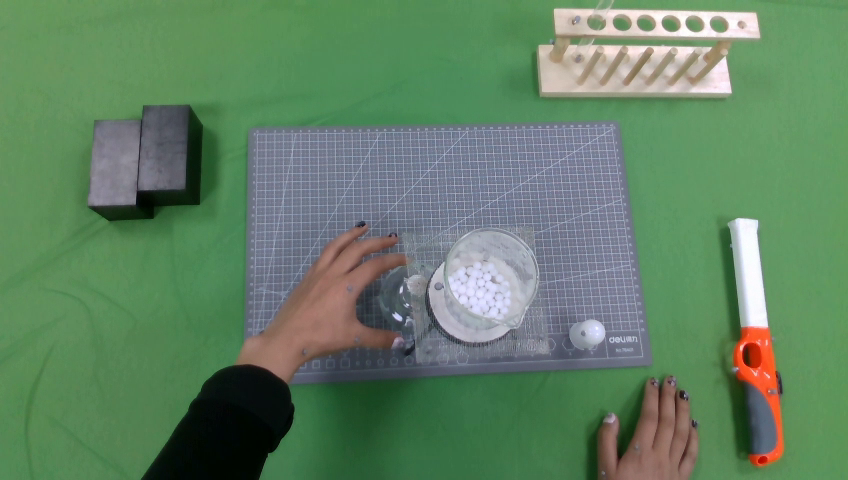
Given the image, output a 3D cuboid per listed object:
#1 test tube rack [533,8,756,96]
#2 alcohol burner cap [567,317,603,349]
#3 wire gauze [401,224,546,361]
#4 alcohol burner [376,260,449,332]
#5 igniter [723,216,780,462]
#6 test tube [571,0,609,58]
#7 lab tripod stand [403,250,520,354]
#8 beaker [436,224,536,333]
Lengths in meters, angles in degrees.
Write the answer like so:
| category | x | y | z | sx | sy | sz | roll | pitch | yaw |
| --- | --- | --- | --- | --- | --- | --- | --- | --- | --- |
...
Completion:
| category | x | y | z | sx | sy | sz | roll | pitch | yaw |
| --- | --- | --- | --- | --- | --- | --- | --- | --- | --- |
| test tube rack | 0.263 | -0.225 | 0.735 | 0.243 | 0.085 | 0.066 | -1 | 75 | -4 |
| alcohol burner cap | 0.179 | 0.101 | 0.665 | 0.034 | 0.048 | 0.033 | 1 | 74 | -2 |
| wire gauze | 0.044 | 0.046 | 0.555 | 0.125 | 0.011 | 0.120 | -4 | 74 | -2 |
| alcohol burner | -0.011 | 0.054 | 0.627 | 0.078 | 0.119 | 0.077 | 1 | 73 | -4 |
| igniter | 0.370 | 0.107 | 0.688 | 0.057 | 0.025 | 0.275 | 5 | 75 | -13 |
| test tube | 0.194 | -0.256 | 0.687 | 0.017 | 0.151 | 0.017 | 1 | 71 | -3 |
| lab tripod stand | 0.038 | 0.065 | 0.617 | 0.148 | 0.132 | 0.147 | 1 | 75 | -2 |
| beaker | 0.049 | 0.040 | 0.506 | 0.074 | 0.100 | 0.083 | -25 | 77 | -9 |
